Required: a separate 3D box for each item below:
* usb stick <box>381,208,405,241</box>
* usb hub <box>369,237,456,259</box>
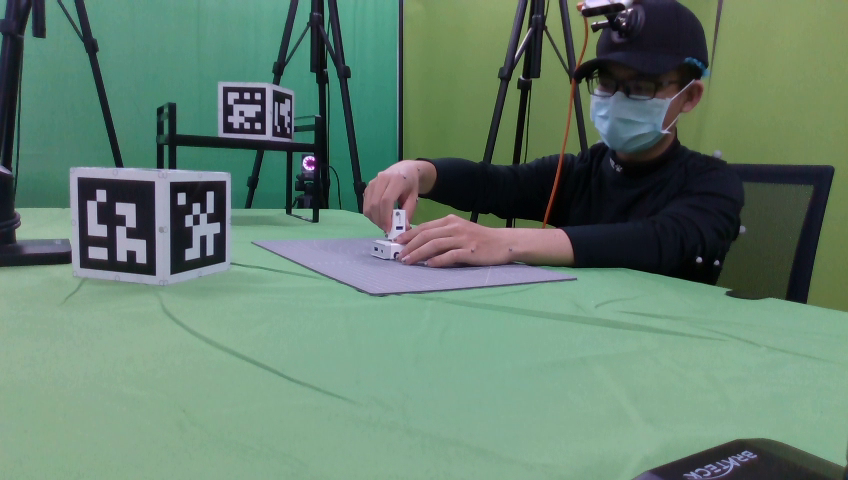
[{"bbox_3d":[-0.047,-0.017,0.888,0.021,0.059,0.027,10,1,-39],"label":"usb stick"},{"bbox_3d":[-0.016,0.012,0.909,0.126,0.025,0.049,-2,10,-32],"label":"usb hub"}]
